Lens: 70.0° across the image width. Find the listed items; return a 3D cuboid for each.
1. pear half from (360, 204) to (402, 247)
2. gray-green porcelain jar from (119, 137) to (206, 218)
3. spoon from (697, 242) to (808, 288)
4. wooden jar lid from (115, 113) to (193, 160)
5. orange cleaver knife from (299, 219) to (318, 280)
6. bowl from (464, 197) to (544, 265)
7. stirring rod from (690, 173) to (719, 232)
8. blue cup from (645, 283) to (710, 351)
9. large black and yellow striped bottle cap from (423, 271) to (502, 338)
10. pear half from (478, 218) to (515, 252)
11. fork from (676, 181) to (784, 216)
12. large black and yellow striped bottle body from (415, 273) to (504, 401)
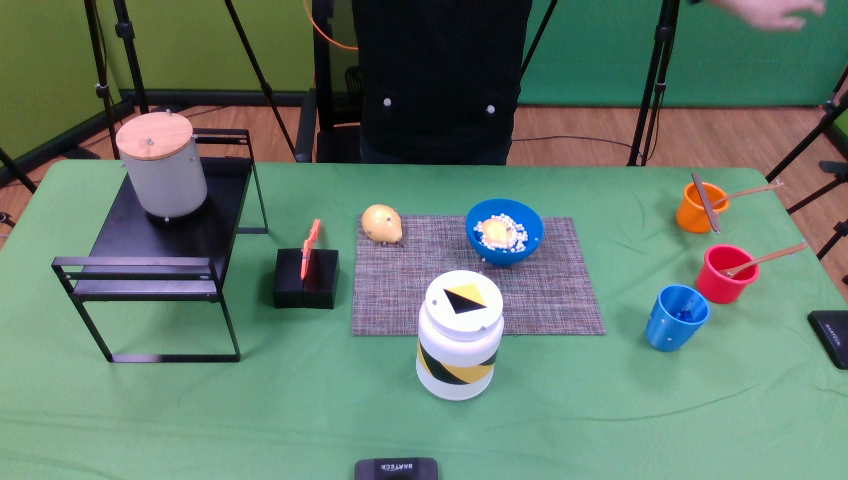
[{"bbox_3d":[-0.077,-0.028,1.195,0.076,0.056,0.109,-36,61,-25],"label":"pear half"},{"bbox_3d":[-0.403,-0.106,0.946,0.106,0.127,0.105,3,46,-2],"label":"gray-green porcelain jar"},{"bbox_3d":[0.601,0.044,1.116,0.194,0.022,0.041,-29,34,30],"label":"spoon"},{"bbox_3d":[-0.399,-0.151,0.900,0.108,0.021,0.107,3,46,-3],"label":"wooden jar lid"},{"bbox_3d":[-0.214,0.013,1.126,0.012,0.077,0.210,6,17,-5],"label":"orange cleaver knife"},{"bbox_3d":[0.149,-0.004,1.167,0.151,0.077,0.150,2,46,-2],"label":"bowl"},{"bbox_3d":[0.566,-0.080,1.225,0.014,0.006,0.175,2,46,2],"label":"stirring rod"},{"bbox_3d":[0.426,0.139,1.041,0.093,0.100,0.092,4,46,-4],"label":"blue cup"},{"bbox_3d":[0.057,0.092,0.883,0.115,0.019,0.114,3,45,-3],"label":"large black and yellow striped bottle cap"},{"bbox_3d":[0.144,-0.013,1.167,0.070,0.031,0.087,-20,55,-21],"label":"pear half"},{"bbox_3d":[0.618,-0.083,1.235,0.207,0.019,0.028,-23,21,38],"label":"fork"},{"bbox_3d":[0.054,0.150,0.943,0.131,0.185,0.130,2,46,-2],"label":"large black and yellow striped bottle body"}]
